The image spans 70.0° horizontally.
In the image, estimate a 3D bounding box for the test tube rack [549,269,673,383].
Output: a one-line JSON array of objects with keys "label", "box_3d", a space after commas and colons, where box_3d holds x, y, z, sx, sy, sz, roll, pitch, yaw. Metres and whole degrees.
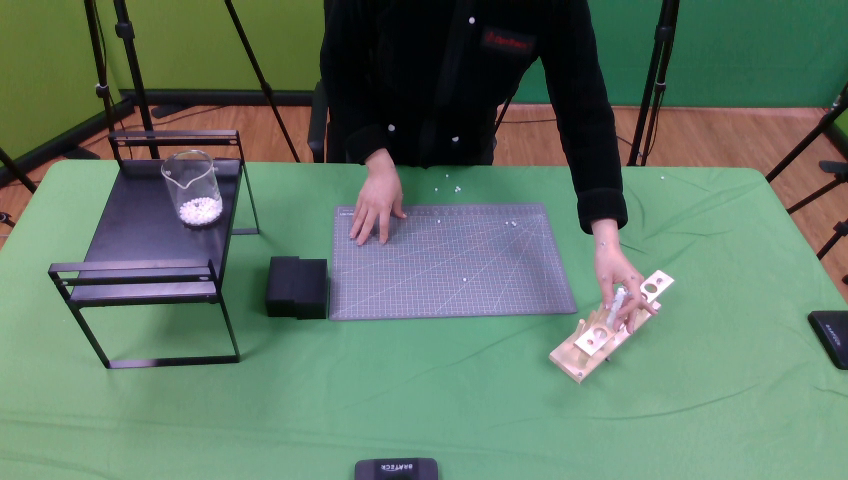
[{"label": "test tube rack", "box_3d": [0.325, 0.135, 1.047, 0.242, 0.085, 0.066, -32, 55, -30]}]

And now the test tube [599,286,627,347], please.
[{"label": "test tube", "box_3d": [0.304, 0.127, 0.984, 0.017, 0.151, 0.017, 1, 46, 0]}]

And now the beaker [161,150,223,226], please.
[{"label": "beaker", "box_3d": [-0.356, -0.076, 0.941, 0.074, 0.101, 0.083, -4, 47, -8]}]
